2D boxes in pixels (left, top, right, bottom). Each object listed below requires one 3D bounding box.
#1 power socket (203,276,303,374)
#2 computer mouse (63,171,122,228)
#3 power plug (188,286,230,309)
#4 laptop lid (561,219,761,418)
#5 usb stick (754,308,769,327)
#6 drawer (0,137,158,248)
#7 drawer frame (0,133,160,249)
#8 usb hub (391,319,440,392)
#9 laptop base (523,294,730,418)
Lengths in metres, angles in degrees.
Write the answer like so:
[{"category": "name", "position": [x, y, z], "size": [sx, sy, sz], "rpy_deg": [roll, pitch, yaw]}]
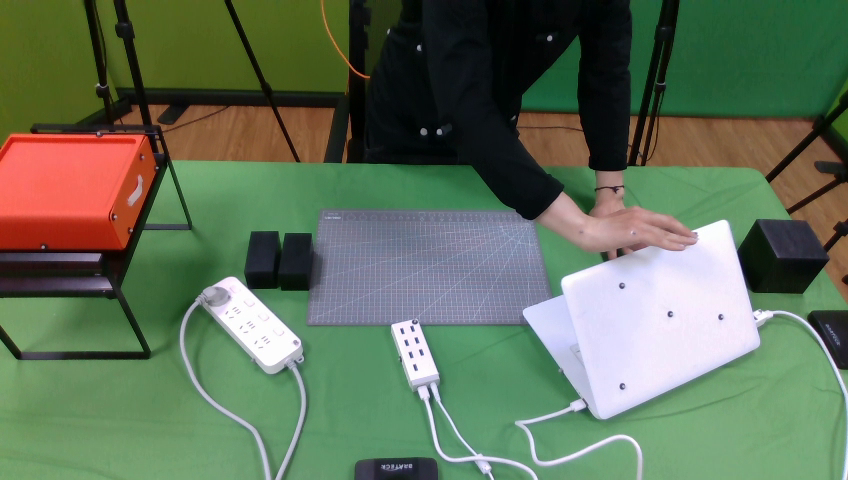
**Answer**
[{"category": "power socket", "position": [-0.296, 0.141, 1.034], "size": [0.225, 0.033, 0.072], "rpy_deg": [37, 55, 27]}, {"category": "computer mouse", "position": [-0.522, -0.067, 0.955], "size": [0.063, 0.041, 0.116], "rpy_deg": [1, 49, -9]}, {"category": "power plug", "position": [-0.369, 0.103, 1.039], "size": [0.072, 0.053, 0.035], "rpy_deg": [-26, 54, -23]}, {"category": "laptop lid", "position": [0.399, 0.120, 0.993], "size": [0.357, 0.013, 0.241], "rpy_deg": [-16, 93, -20]}, {"category": "usb stick", "position": [0.587, 0.147, 1.088], "size": [0.059, 0.027, 0.021], "rpy_deg": [-23, 47, -16]}, {"category": "drawer", "position": [-0.549, -0.079, 0.944], "size": [0.212, 0.073, 0.193], "rpy_deg": [0, 47, -3]}, {"category": "drawer frame", "position": [-0.553, -0.078, 0.942], "size": [0.214, 0.083, 0.200], "rpy_deg": [-1, 47, -4]}, {"category": "usb hub", "position": [-0.016, 0.190, 1.013], "size": [0.049, 0.025, 0.124], "rpy_deg": [-11, 48, -15]}, {"category": "laptop base", "position": [0.380, 0.160, 1.078], "size": [0.355, 0.023, 0.234], "rpy_deg": [-17, 48, -20]}]
